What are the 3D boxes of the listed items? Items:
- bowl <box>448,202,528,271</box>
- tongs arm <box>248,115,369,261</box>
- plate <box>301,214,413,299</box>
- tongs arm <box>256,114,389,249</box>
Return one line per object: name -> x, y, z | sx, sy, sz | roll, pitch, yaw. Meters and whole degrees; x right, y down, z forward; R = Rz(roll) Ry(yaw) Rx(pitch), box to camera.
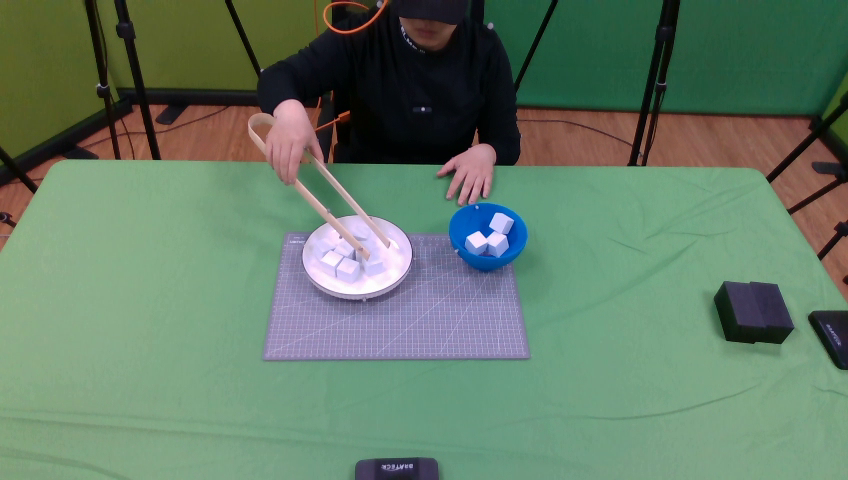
bowl -> 0.118, 0.006, 1.160 | 0.151, 0.077, 0.150 | 2, 46, -2
tongs arm -> -0.221, -0.105, 1.157 | 0.383, 0.026, 0.051 | 43, 57, 15
plate -> -0.124, 0.033, 1.143 | 0.208, 0.039, 0.206 | 2, 46, -2
tongs arm -> -0.198, -0.119, 1.173 | 0.028, 0.028, 0.386 | -36, 72, -27
